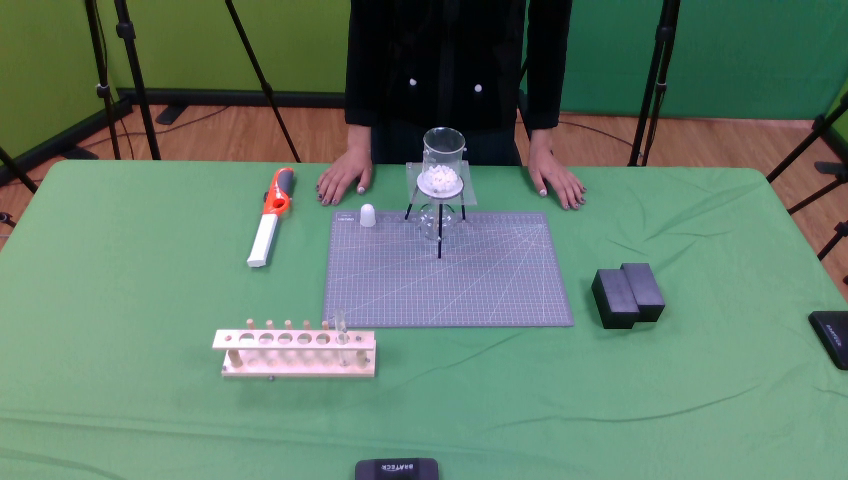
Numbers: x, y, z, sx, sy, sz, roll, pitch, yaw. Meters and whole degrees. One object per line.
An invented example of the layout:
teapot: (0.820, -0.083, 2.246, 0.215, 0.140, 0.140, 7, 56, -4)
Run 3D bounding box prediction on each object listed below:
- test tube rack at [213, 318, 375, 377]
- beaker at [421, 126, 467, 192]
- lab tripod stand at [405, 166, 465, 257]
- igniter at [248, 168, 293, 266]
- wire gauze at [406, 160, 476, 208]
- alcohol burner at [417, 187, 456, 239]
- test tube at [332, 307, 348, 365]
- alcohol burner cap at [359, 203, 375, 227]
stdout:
test tube rack: (-0.202, 0.169, 0.977, 0.242, 0.085, 0.066, 1, 46, -3)
beaker: (0.031, -0.145, 1.100, 0.074, 0.101, 0.083, -16, 50, -20)
lab tripod stand: (0.030, -0.063, 1.180, 0.148, 0.132, 0.147, 3, 47, -3)
igniter: (-0.307, -0.055, 1.225, 0.057, 0.025, 0.275, -3, 45, 6)
wire gauze: (0.030, -0.107, 1.130, 0.125, 0.011, 0.120, 1, 48, -7)
alcohol burner: (0.025, -0.059, 1.189, 0.078, 0.120, 0.077, 1, 48, -1)
test tube: (-0.128, 0.151, 0.931, 0.017, 0.151, 0.017, 1, 50, -2)
alcohol burner cap: (-0.115, -0.053, 1.224, 0.034, 0.048, 0.033, 3, 47, -3)
